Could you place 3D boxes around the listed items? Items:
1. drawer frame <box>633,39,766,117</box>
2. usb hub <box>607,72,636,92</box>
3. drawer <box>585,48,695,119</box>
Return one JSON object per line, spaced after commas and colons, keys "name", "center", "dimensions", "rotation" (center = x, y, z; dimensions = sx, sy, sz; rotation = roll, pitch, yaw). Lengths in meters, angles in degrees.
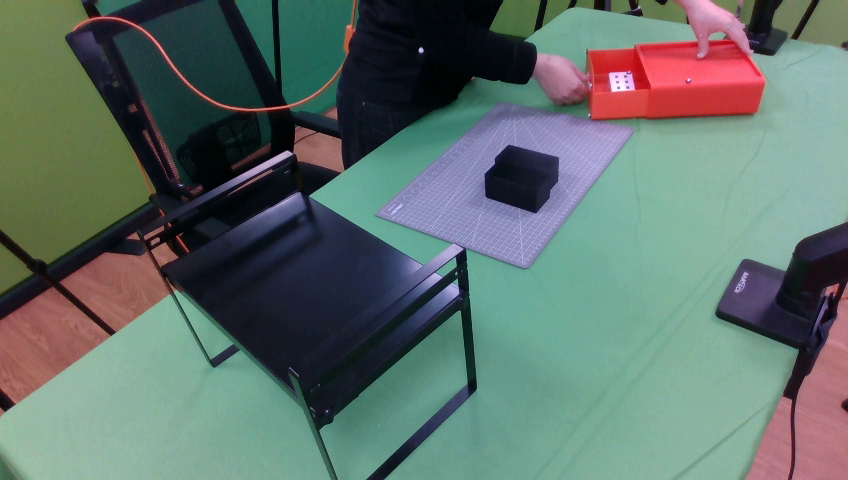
{"name": "drawer frame", "center": [0.544, -0.332, 1.233], "dimensions": [0.213, 0.083, 0.201], "rotation": [-1, 41, 6]}
{"name": "usb hub", "center": [0.415, -0.312, 1.263], "dimensions": [0.049, 0.025, 0.124], "rotation": [3, 42, 8]}
{"name": "drawer", "center": [0.443, -0.328, 1.249], "dimensions": [0.211, 0.073, 0.194], "rotation": [1, 41, 9]}
